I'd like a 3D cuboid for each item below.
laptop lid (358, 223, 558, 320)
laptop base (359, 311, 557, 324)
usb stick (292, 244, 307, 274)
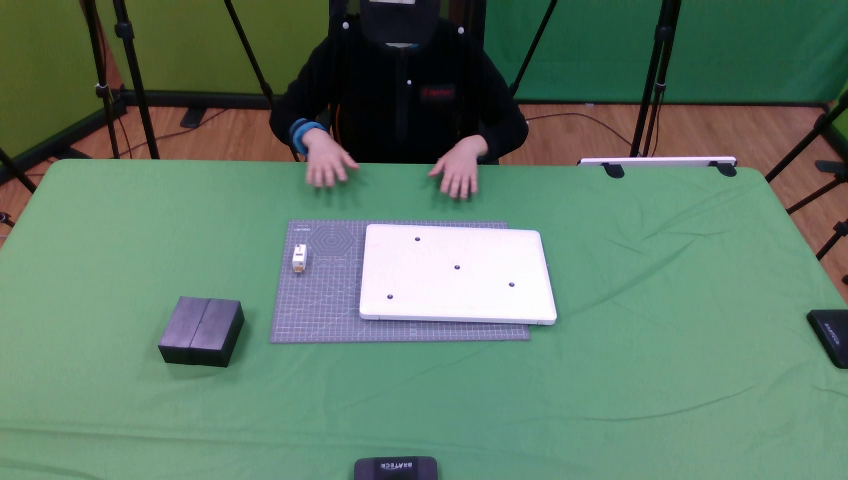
[{"bbox_3d":[0.061,0.053,1.138,0.357,0.013,0.240,3,44,-2],"label":"laptop lid"},{"bbox_3d":[0.061,0.063,1.145,0.354,0.023,0.234,2,43,-3],"label":"laptop base"},{"bbox_3d":[-0.234,0.036,1.137,0.021,0.027,0.059,3,49,-4],"label":"usb stick"}]
